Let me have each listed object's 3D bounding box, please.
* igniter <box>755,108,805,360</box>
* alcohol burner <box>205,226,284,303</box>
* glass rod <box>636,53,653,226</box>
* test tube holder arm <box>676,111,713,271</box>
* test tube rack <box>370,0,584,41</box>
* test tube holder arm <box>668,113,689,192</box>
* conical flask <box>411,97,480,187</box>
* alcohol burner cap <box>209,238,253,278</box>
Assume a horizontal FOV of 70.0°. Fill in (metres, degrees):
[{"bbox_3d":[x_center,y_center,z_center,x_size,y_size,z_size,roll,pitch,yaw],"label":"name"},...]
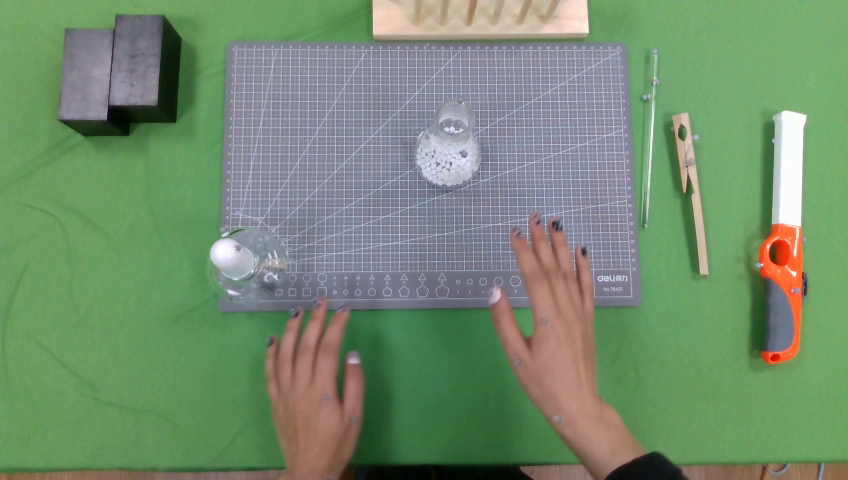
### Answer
[{"bbox_3d":[0.387,-0.008,0.656,0.057,0.025,0.275,8,82,-10],"label":"igniter"},{"bbox_3d":[-0.179,0.022,0.590,0.078,0.119,0.077,0,80,0],"label":"alcohol burner"},{"bbox_3d":[0.247,-0.114,0.676,0.008,0.008,0.199,6,84,-1],"label":"glass rod"},{"bbox_3d":[0.295,-0.054,0.663,0.013,0.015,0.177,-14,80,34],"label":"test tube holder arm"},{"bbox_3d":[0.060,-0.269,0.655,0.242,0.085,0.066,-1,81,-2],"label":"test tube rack"},{"bbox_3d":[0.284,-0.097,0.672,0.010,0.015,0.087,-13,81,34],"label":"test tube holder arm"},{"bbox_3d":[0.024,-0.102,0.609,0.075,0.122,0.075,0,81,-1],"label":"conical flask"},{"bbox_3d":[-0.179,0.014,0.555,0.034,0.048,0.033,0,73,-1],"label":"alcohol burner cap"}]
